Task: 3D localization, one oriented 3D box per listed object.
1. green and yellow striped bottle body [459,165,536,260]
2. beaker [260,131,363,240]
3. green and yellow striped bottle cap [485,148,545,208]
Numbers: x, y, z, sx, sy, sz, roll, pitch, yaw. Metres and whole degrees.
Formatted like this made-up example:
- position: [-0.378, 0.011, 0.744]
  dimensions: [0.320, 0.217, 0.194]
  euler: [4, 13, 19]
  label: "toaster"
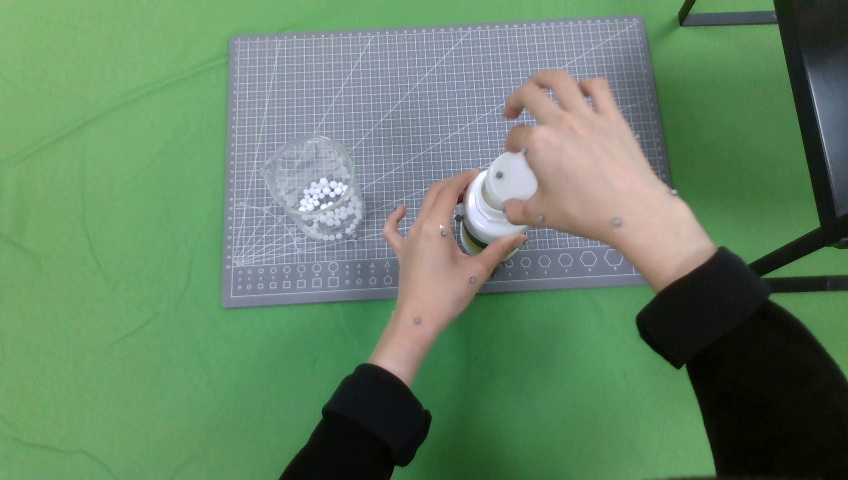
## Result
- position: [0.064, -0.026, 0.543]
  dimensions: [0.063, 0.120, 0.063]
  euler: [0, 74, 1]
  label: "green and yellow striped bottle body"
- position: [-0.099, -0.045, 0.560]
  dimensions: [0.084, 0.101, 0.073]
  euler: [8, 74, 4]
  label: "beaker"
- position: [0.071, -0.048, 0.471]
  dimensions: [0.045, 0.020, 0.045]
  euler: [1, 80, -4]
  label: "green and yellow striped bottle cap"
